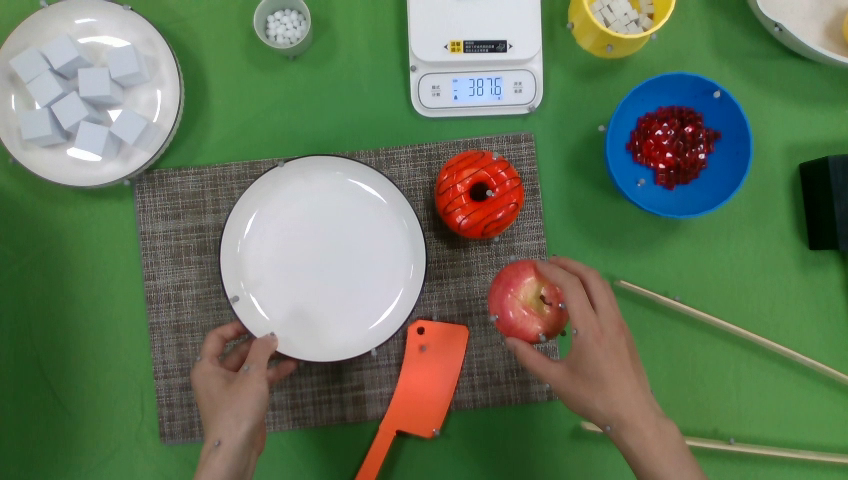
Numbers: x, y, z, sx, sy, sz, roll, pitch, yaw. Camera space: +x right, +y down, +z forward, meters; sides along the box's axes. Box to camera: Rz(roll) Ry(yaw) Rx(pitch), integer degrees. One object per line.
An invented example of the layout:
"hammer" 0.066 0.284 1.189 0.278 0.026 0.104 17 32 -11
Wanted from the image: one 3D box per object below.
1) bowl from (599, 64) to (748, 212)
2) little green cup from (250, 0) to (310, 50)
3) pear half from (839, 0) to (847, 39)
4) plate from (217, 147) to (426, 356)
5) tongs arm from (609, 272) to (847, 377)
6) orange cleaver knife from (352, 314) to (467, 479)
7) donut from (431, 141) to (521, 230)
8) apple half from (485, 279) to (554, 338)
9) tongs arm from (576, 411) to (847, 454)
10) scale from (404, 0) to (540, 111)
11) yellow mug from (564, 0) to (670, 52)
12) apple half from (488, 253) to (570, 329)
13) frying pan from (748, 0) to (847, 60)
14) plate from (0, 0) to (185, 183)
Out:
"bowl" 0.255 -0.102 0.651 0.151 0.077 0.151 0 90 -1
"little green cup" -0.155 -0.240 0.666 0.061 0.038 0.061 0 89 0
"pear half" 0.491 -0.240 0.637 0.076 0.110 0.056 31 89 4
"plate" -0.102 0.011 0.616 0.209 0.038 0.209 0 91 0
"tongs arm" 0.385 0.119 0.674 0.388 0.028 0.028 24 81 0
"orange cleaver knife" -0.015 0.178 0.667 0.077 0.012 0.211 22 86 -7
"donut" 0.056 -0.059 0.660 0.099 0.048 0.099 0 90 1
"apple half" 0.083 0.072 0.578 0.081 0.081 0.033 38 82 0
"tongs arm" 0.363 0.202 0.669 0.385 0.026 0.050 9 85 -1
"scale" 0.053 -0.248 0.673 0.149 0.031 0.200 -2 90 0
"yellow mug" 0.199 -0.276 0.659 0.100 0.064 0.131 -39 89 -1
"apple half" 0.107 0.042 0.583 0.081 0.075 0.053 38 81 2
"frying pan" 0.529 -0.246 0.645 0.307 0.103 0.486 -33 82 0
"plate" -0.363 -0.164 0.662 0.208 0.039 0.207 0 89 -1
